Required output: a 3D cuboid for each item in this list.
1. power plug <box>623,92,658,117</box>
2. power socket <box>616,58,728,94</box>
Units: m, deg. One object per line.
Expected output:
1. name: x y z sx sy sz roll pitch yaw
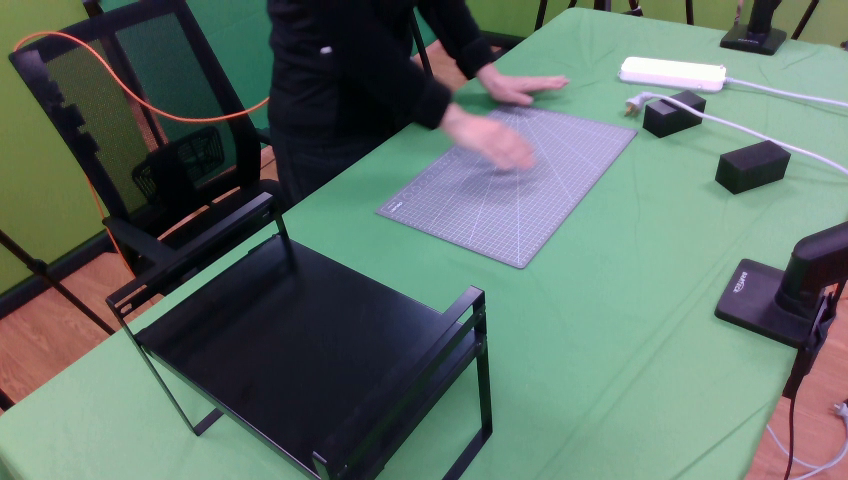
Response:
1. power plug: 0.422 -0.270 1.198 0.035 0.072 0.052 35 90 -4
2. power socket: 0.531 -0.355 1.302 0.225 0.033 0.072 15 46 23
